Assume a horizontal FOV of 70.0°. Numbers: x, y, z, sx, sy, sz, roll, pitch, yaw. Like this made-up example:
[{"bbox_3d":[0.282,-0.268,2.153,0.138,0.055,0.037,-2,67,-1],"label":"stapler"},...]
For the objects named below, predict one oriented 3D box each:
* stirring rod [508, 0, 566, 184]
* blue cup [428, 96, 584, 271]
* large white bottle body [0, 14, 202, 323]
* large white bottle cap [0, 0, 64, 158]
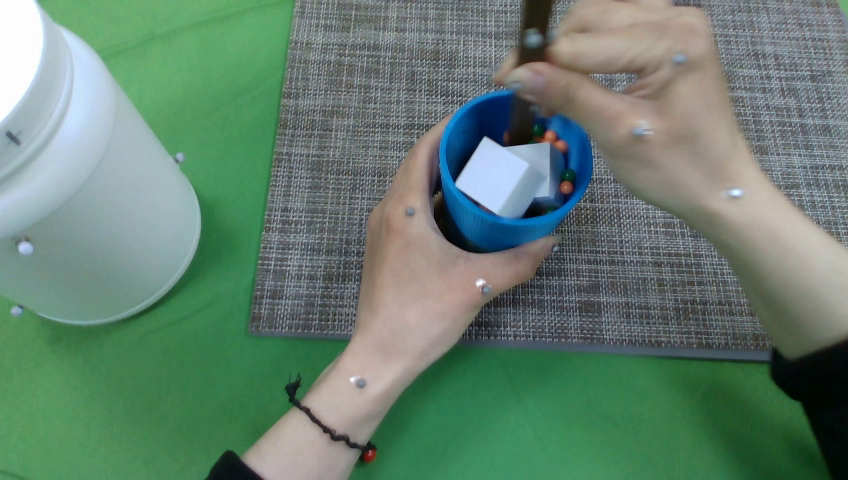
[{"bbox_3d":[0.056,-0.071,0.314,0.014,0.177,0.005,-19,69,-3],"label":"stirring rod"},{"bbox_3d":[0.045,-0.024,0.376,0.092,0.101,0.092,0,69,1],"label":"blue cup"},{"bbox_3d":[-0.214,-0.038,0.330,0.131,0.186,0.129,1,68,-1],"label":"large white bottle body"},{"bbox_3d":[-0.213,-0.071,0.251,0.115,0.018,0.114,1,68,-1],"label":"large white bottle cap"}]
